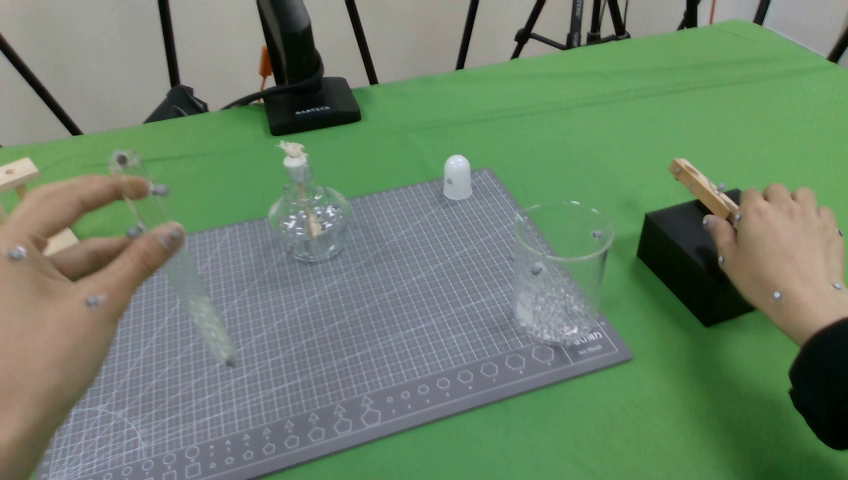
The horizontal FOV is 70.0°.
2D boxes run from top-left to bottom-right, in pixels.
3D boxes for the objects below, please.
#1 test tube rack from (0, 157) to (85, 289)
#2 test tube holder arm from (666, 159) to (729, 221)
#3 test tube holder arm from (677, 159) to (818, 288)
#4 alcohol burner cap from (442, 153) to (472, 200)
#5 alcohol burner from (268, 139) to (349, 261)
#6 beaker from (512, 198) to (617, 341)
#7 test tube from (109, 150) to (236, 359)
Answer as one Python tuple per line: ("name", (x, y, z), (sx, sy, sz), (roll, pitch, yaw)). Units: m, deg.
("test tube rack", (-0.459, 0.018, 0.552), (0.242, 0.086, 0.066), (-31, 48, -29))
("test tube holder arm", (0.253, -0.047, 0.558), (0.010, 0.015, 0.087), (-9, 40, -15))
("test tube holder arm", (0.272, -0.021, 0.527), (0.013, 0.015, 0.176), (-9, 40, -15))
("alcohol burner cap", (0.035, -0.071, 0.654), (0.034, 0.048, 0.033), (-2, 40, 2))
("alcohol burner", (-0.112, -0.040, 0.571), (0.078, 0.120, 0.077), (-3, 39, 3))
("beaker", (0.106, 0.026, 0.490), (0.083, 0.101, 0.074), (29, 50, 34))
("test tube", (-0.135, 0.017, 0.339), (0.017, 0.152, 0.017), (-5, 40, 5))
